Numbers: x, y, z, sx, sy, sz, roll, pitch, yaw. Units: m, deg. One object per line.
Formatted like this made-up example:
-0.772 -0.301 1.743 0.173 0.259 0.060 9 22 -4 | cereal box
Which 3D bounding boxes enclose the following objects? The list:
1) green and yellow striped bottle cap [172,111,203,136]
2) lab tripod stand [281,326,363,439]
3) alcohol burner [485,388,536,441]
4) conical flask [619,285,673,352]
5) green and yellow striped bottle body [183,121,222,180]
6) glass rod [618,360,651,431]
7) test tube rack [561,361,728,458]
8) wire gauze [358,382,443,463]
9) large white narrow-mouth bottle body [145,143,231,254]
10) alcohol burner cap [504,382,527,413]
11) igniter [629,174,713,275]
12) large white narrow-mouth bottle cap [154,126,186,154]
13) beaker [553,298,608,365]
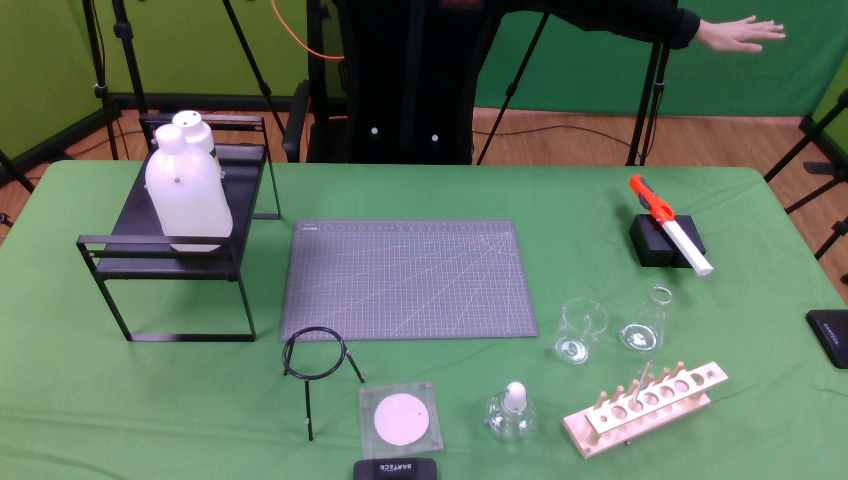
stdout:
-0.374 -0.185 0.958 0.045 0.020 0.045 3 46 -3 | green and yellow striped bottle cap
-0.166 0.202 0.913 0.148 0.132 0.147 1 47 -1 | lab tripod stand
0.131 0.249 0.904 0.078 0.120 0.077 1 48 -1 | alcohol burner
0.385 0.130 1.031 0.075 0.122 0.075 2 46 -2 | conical flask
-0.375 -0.149 0.995 0.063 0.120 0.063 2 46 -2 | green and yellow striped bottle body
0.298 0.226 0.865 0.008 0.201 0.008 -2 48 2 | glass rod
0.341 0.248 0.940 0.243 0.085 0.066 -15 49 -18 | test tube rack
-0.039 0.277 0.937 0.121 0.011 0.124 -4 47 -7 | wire gauze
-0.345 -0.076 0.877 0.102 0.195 0.101 2 48 -2 | large white narrow-mouth bottle body
0.133 0.225 0.877 0.034 0.048 0.033 -4 47 5 | alcohol burner cap
0.481 -0.040 1.202 0.057 0.025 0.274 -2 46 -21 | igniter
-0.340 -0.134 0.812 0.038 0.024 0.037 2 48 -2 | large white narrow-mouth bottle cap
0.260 0.154 1.015 0.073 0.101 0.084 37 54 27 | beaker
